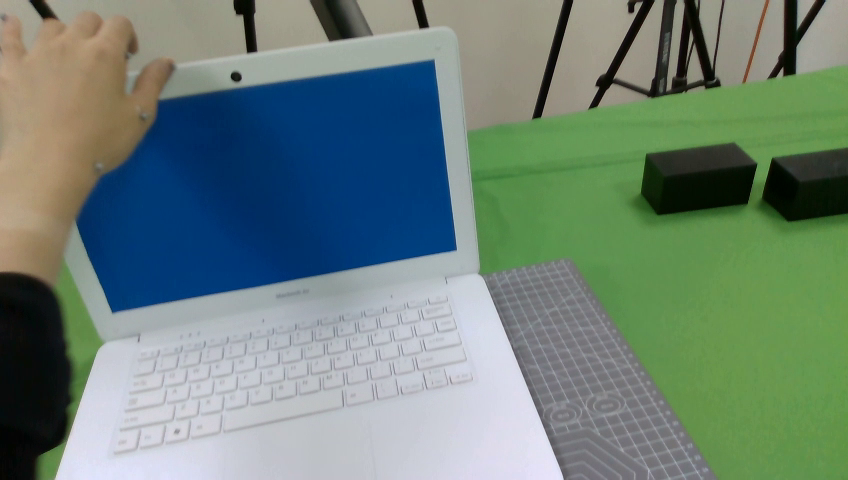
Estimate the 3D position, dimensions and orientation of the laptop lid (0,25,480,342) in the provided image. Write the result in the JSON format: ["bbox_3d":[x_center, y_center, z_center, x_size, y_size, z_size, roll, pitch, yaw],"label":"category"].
[{"bbox_3d":[-0.132,-0.038,0.516,0.357,0.243,0.013,-12,27,-5],"label":"laptop lid"}]

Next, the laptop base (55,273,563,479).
[{"bbox_3d":[-0.097,0.135,0.475,0.355,0.023,0.233,-10,40,-6],"label":"laptop base"}]
